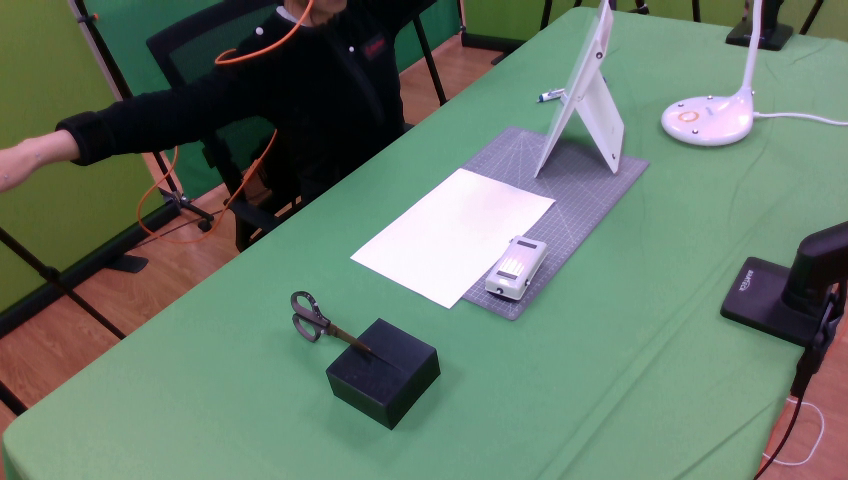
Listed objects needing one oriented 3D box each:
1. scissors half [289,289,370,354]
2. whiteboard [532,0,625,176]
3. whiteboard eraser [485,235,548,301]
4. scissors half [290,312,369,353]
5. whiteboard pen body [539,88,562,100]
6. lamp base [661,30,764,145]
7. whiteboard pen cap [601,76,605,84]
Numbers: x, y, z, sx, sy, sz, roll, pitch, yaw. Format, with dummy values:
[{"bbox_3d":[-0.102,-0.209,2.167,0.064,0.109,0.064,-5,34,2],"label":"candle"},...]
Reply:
[{"bbox_3d":[-0.128,0.110,0.809,0.013,0.040,0.173,-17,36,-43],"label":"scissors half"},{"bbox_3d":[0.320,-0.259,1.050,0.144,0.306,0.217,21,45,5],"label":"whiteboard"},{"bbox_3d":[0.137,0.042,0.887,0.055,0.042,0.113,15,46,27],"label":"whiteboard eraser"},{"bbox_3d":[-0.128,0.129,0.816,0.013,0.040,0.173,-23,21,-40],"label":"scissors half"},{"bbox_3d":[0.315,-0.324,1.303,0.141,0.017,0.017,-15,41,-2],"label":"whiteboard pen body"},{"bbox_3d":[0.535,-0.287,1.096,0.179,0.181,0.159,-10,40,-4],"label":"lamp base"},{"bbox_3d":[0.372,-0.341,1.305,0.033,0.018,0.018,-17,41,-1],"label":"whiteboard pen cap"}]
